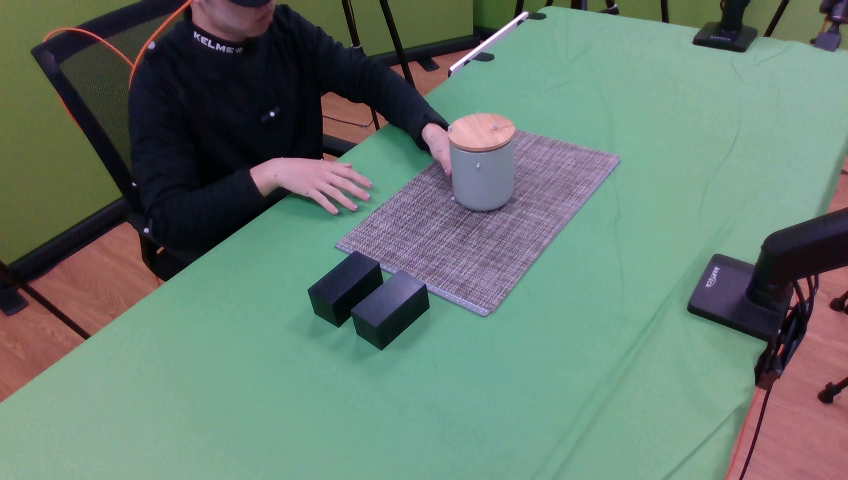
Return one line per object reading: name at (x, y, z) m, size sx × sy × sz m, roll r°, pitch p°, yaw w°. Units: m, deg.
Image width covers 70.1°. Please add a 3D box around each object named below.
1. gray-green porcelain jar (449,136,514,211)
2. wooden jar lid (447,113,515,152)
gray-green porcelain jar at (0.097, -0.120, 1.009) m, size 0.106 × 0.127 × 0.105 m, roll -4°, pitch 41°, yaw 4°
wooden jar lid at (0.091, -0.169, 0.967) m, size 0.108 × 0.021 × 0.108 m, roll -5°, pitch 39°, yaw 4°
